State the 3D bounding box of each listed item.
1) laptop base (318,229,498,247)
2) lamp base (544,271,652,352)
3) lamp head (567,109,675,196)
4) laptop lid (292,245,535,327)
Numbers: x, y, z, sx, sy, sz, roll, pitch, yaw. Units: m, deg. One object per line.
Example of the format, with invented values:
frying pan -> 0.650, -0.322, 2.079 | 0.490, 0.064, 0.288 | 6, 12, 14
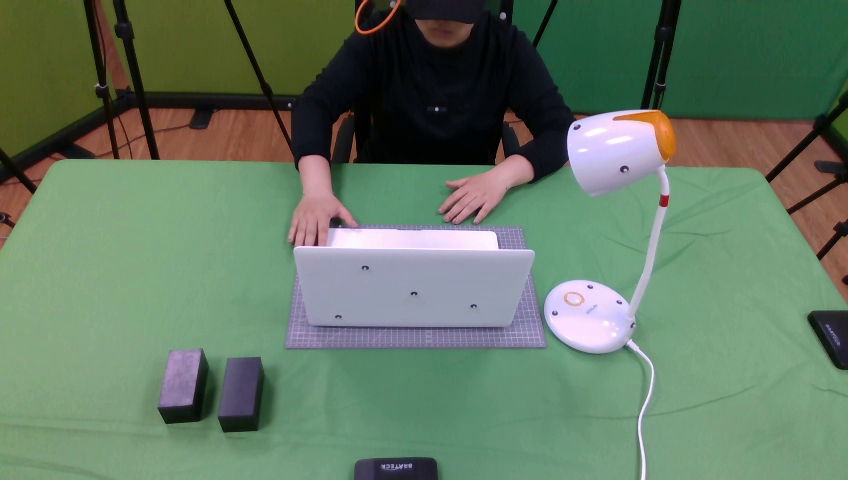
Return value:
laptop base -> -0.028, 0.066, 1.135 | 0.355, 0.023, 0.234 | 1, 43, -4
lamp base -> 0.310, 0.086, 1.029 | 0.178, 0.181, 0.160 | 32, 52, 21
lamp head -> 0.272, -0.123, 0.818 | 0.122, 0.113, 0.112 | -9, 35, 37
laptop lid -> -0.018, 0.080, 0.956 | 0.357, 0.243, 0.013 | 2, 53, -5
